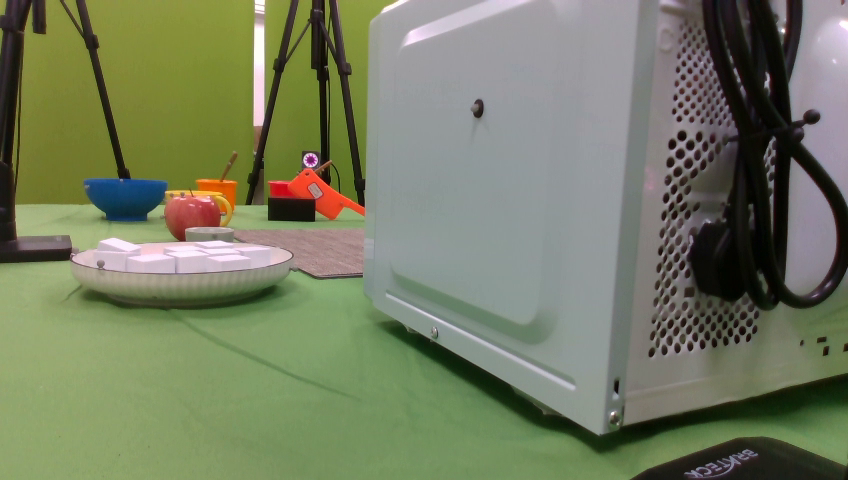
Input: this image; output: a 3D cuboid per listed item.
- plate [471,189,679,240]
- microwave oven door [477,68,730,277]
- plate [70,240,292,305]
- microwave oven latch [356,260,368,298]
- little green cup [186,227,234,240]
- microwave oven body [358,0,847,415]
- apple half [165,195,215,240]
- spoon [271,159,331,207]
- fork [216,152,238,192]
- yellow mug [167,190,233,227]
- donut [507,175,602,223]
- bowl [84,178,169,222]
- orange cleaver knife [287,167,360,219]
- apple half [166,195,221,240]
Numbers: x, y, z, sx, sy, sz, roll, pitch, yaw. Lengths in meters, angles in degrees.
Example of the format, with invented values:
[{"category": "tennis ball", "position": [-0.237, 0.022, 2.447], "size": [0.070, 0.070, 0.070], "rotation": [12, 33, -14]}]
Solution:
[{"category": "plate", "position": [0.151, -0.029, 0.626], "size": [0.209, 0.038, 0.209], "rotation": [3, 8, 0]}, {"category": "microwave oven door", "position": [0.219, -0.097, 0.826], "size": [0.039, 0.243, 0.354], "rotation": [-5, 10, -42]}, {"category": "plate", "position": [-0.242, 0.031, 0.618], "size": [0.208, 0.039, 0.207], "rotation": [2, 8, 0]}, {"category": "microwave oven latch", "position": [-0.019, 0.033, 0.529], "size": [0.079, 0.029, 0.030], "rotation": [0, 7, -25]}, {"category": "little green cup", "position": [-0.285, 0.005, 0.805], "size": [0.061, 0.038, 0.061], "rotation": [2, 8, 0]}, {"category": "microwave oven body", "position": [0.211, -0.047, 0.474], "size": [0.444, 0.260, 0.324], "rotation": [-1, 7, -28]}, {"category": "apple half", "position": [-0.377, -0.038, 0.964], "size": [0.082, 0.081, 0.032], "rotation": [-4, 15, -39]}, {"category": "spoon", "position": [-0.308, -0.142, 1.514], "size": [0.193, 0.021, 0.041], "rotation": [-41, 5, 9]}, {"category": "fork", "position": [-0.455, -0.132, 1.367], "size": [0.028, 0.018, 0.207], "rotation": [-2, -35, -37]}, {"category": "yellow mug", "position": [-0.415, -0.057, 1.132], "size": [0.130, 0.064, 0.100], "rotation": [6, 8, 16]}, {"category": "donut", "position": [0.136, -0.042, 0.637], "size": [0.099, 0.048, 0.099], "rotation": [6, 6, 0]}, {"category": "bowl", "position": [-0.584, -0.078, 1.194], "size": [0.151, 0.077, 0.151], "rotation": [3, 8, 0]}, {"category": "orange cleaver knife", "position": [-0.209, -0.089, 1.383], "size": [0.212, 0.077, 0.012], "rotation": [31, 4, -15]}, {"category": "apple half", "position": [-0.351, -0.031, 0.935], "size": [0.081, 0.074, 0.053], "rotation": [1, 11, -40]}]
